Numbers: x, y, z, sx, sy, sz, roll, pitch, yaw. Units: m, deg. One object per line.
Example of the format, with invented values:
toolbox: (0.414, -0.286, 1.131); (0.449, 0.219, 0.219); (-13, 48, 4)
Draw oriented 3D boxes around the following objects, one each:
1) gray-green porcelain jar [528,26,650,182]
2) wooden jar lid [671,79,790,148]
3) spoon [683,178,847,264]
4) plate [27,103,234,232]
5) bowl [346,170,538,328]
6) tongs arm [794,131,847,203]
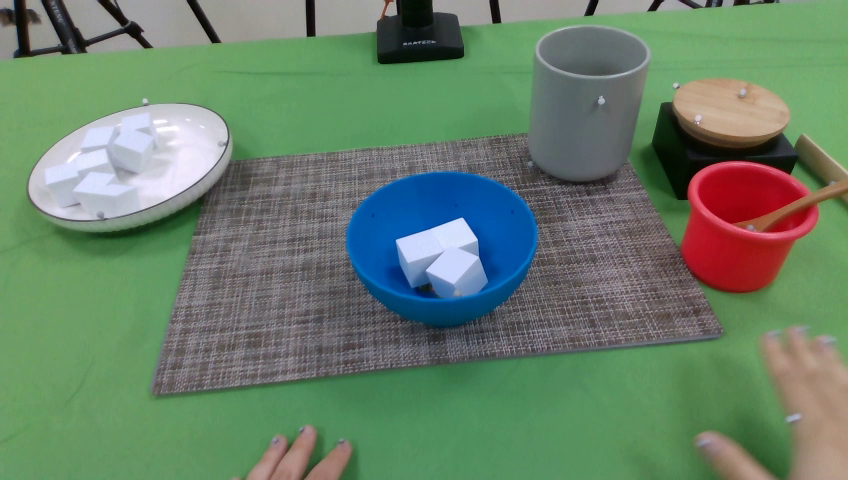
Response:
gray-green porcelain jar: (0.159, -0.131, 0.606); (0.106, 0.128, 0.105); (-2, 44, 2)
wooden jar lid: (0.301, -0.125, 0.601); (0.108, 0.021, 0.107); (-3, 44, 3)
spoon: (0.301, -0.026, 0.481); (0.022, 0.193, 0.041); (39, 42, -22)
plate: (-0.306, -0.077, 0.650); (0.209, 0.038, 0.207); (-3, 44, 3)
bowl: (0.015, 0.019, 0.497); (0.151, 0.077, 0.150); (-2, 44, 2)
tongs arm: (0.438, 0.024, 0.503); (0.028, 0.028, 0.383); (-9, 45, -9)
